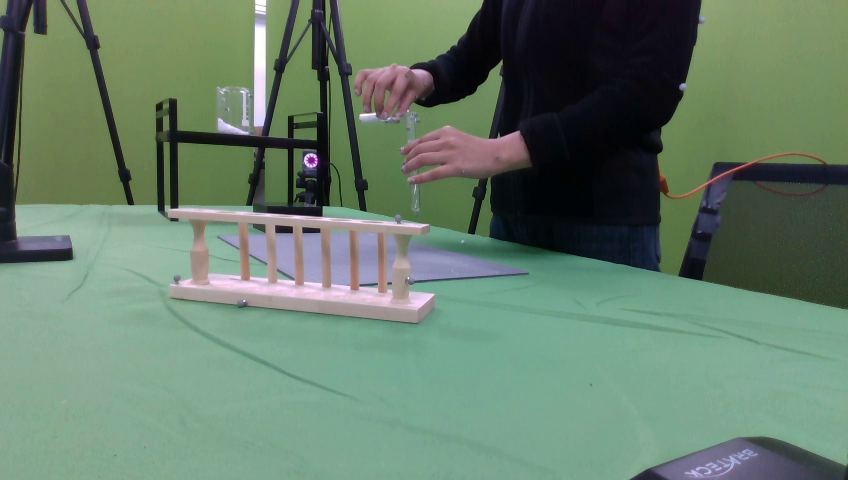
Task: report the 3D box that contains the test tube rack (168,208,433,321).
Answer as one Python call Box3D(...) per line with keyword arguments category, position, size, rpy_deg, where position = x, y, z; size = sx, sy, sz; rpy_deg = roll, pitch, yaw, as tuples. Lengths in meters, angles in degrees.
Box3D(category="test tube rack", position=(-0.116, 0.017, 0.574), size=(0.242, 0.085, 0.067), rpy_deg=(4, 8, 13))

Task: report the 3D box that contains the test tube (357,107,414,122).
Box3D(category="test tube", position=(-0.067, -0.207, 1.000), size=(0.017, 0.017, 0.149), rpy_deg=(-4, 8, -38))

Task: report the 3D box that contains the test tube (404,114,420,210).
Box3D(category="test tube", position=(-0.018, -0.120, 0.933), size=(0.017, 0.150, 0.017), rpy_deg=(-4, -6, 0))

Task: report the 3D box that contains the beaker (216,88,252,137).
Box3D(category="beaker", position=(-0.412, -0.276, 1.310), size=(0.074, 0.100, 0.084), rpy_deg=(4, 8, 16))
